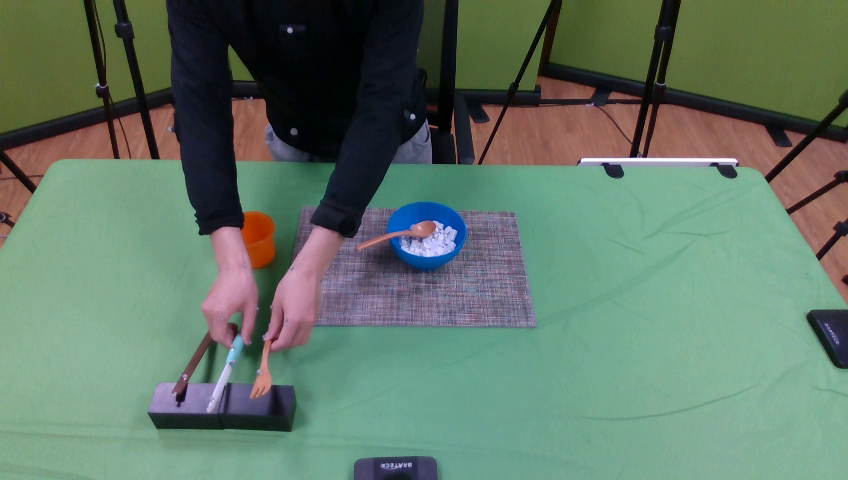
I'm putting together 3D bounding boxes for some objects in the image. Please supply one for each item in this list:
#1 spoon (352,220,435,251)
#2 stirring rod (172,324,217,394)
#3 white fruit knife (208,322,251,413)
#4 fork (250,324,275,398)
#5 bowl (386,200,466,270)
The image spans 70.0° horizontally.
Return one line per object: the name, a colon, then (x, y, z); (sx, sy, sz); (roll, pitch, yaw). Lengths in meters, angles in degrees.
spoon: (-0.054, -0.009, 1.109); (0.194, 0.022, 0.041); (-14, 39, -42)
stirring rod: (-0.361, 0.185, 0.962); (0.014, 0.006, 0.175); (2, 26, -1)
white fruit knife: (-0.297, 0.188, 0.929); (0.016, 0.027, 0.206); (-1, 29, 1)
fork: (-0.241, 0.180, 0.923); (0.028, 0.019, 0.206); (-10, 25, -4)
bowl: (0.002, 0.003, 1.150); (0.151, 0.077, 0.150); (2, 46, -2)
